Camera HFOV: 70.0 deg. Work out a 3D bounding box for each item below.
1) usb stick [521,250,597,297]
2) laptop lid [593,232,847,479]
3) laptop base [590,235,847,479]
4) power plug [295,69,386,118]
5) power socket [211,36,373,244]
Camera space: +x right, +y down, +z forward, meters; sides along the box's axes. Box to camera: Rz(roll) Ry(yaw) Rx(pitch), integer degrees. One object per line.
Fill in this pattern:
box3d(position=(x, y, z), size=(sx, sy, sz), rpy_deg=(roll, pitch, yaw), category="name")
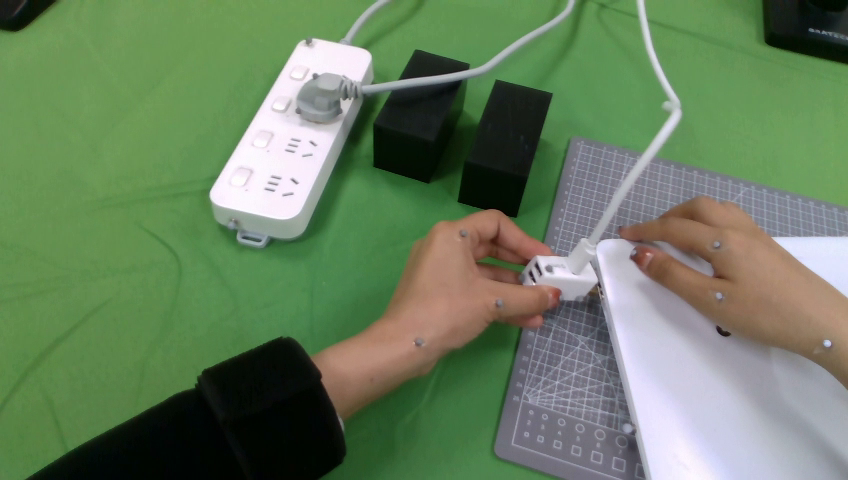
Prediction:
box3d(position=(0.099, 0.024, 0.422), size=(0.059, 0.027, 0.021), rpy_deg=(8, 43, -26), category="usb stick")
box3d(position=(0.306, 0.092, 0.406), size=(0.357, 0.013, 0.239), rpy_deg=(1, 57, -4), category="laptop lid")
box3d(position=(0.305, 0.097, 0.417), size=(0.355, 0.023, 0.233), rpy_deg=(-1, 58, -5), category="laptop base")
box3d(position=(-0.071, -0.109, 0.492), size=(0.072, 0.053, 0.035), rpy_deg=(22, 56, 11), category="power plug")
box3d(position=(-0.103, -0.094, 0.509), size=(0.072, 0.033, 0.225), rpy_deg=(14, 55, 4), category="power socket")
